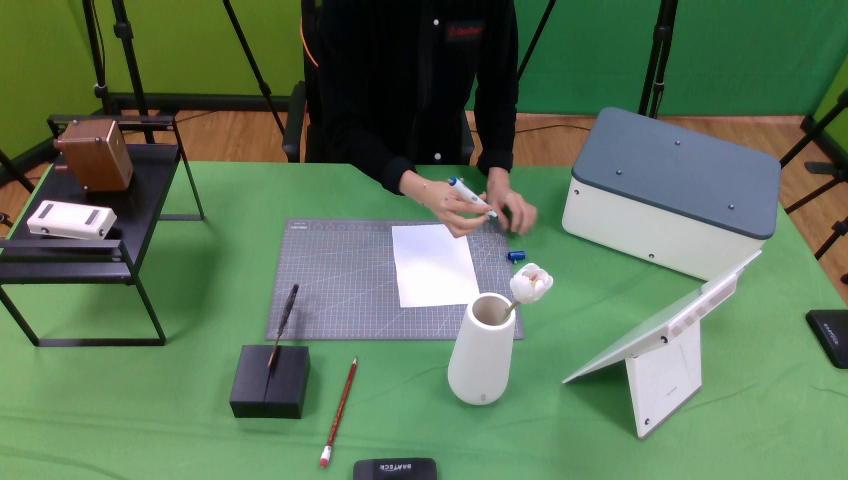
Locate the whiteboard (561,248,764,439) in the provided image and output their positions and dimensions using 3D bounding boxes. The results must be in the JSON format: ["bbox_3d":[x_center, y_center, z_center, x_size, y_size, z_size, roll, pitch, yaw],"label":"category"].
[{"bbox_3d":[0.386,0.176,0.905,0.217,0.306,0.143,-26,72,-27],"label":"whiteboard"}]

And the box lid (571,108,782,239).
[{"bbox_3d":[0.491,-0.139,1.168,0.370,0.015,0.262,21,49,15],"label":"box lid"}]

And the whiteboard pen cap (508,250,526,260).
[{"bbox_3d":[0.181,0.029,1.185,0.033,0.018,0.018,-4,47,-14],"label":"whiteboard pen cap"}]

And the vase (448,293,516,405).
[{"bbox_3d":[0.091,0.169,0.921,0.098,0.201,0.097,3,47,-3],"label":"vase"}]

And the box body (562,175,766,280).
[{"bbox_3d":[0.486,-0.088,1.222,0.363,0.161,0.253,20,48,15],"label":"box body"}]

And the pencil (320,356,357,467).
[{"bbox_3d":[-0.130,0.261,0.946,0.012,0.012,0.193,10,45,5],"label":"pencil"}]

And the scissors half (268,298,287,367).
[{"bbox_3d":[-0.239,0.150,0.997,0.013,0.040,0.174,24,24,-14],"label":"scissors half"}]

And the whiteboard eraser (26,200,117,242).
[{"bbox_3d":[-0.532,-0.026,0.919,0.113,0.042,0.055,7,45,3],"label":"whiteboard eraser"}]

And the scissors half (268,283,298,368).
[{"bbox_3d":[-0.230,0.135,0.986,0.013,0.040,0.174,19,43,-11],"label":"scissors half"}]

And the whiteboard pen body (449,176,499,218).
[{"bbox_3d":[0.086,-0.068,1.008,0.017,0.141,0.017,-21,54,32],"label":"whiteboard pen body"}]

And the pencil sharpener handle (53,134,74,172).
[{"bbox_3d":[-0.577,-0.138,0.961,0.031,0.068,0.036,-4,34,-7],"label":"pencil sharpener handle"}]

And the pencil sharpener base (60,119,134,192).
[{"bbox_3d":[-0.528,-0.135,0.979,0.077,0.107,0.061,-4,47,-7],"label":"pencil sharpener base"}]

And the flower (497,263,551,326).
[{"bbox_3d":[0.103,0.121,0.853,0.044,0.363,0.038,-1,64,-9],"label":"flower"}]
